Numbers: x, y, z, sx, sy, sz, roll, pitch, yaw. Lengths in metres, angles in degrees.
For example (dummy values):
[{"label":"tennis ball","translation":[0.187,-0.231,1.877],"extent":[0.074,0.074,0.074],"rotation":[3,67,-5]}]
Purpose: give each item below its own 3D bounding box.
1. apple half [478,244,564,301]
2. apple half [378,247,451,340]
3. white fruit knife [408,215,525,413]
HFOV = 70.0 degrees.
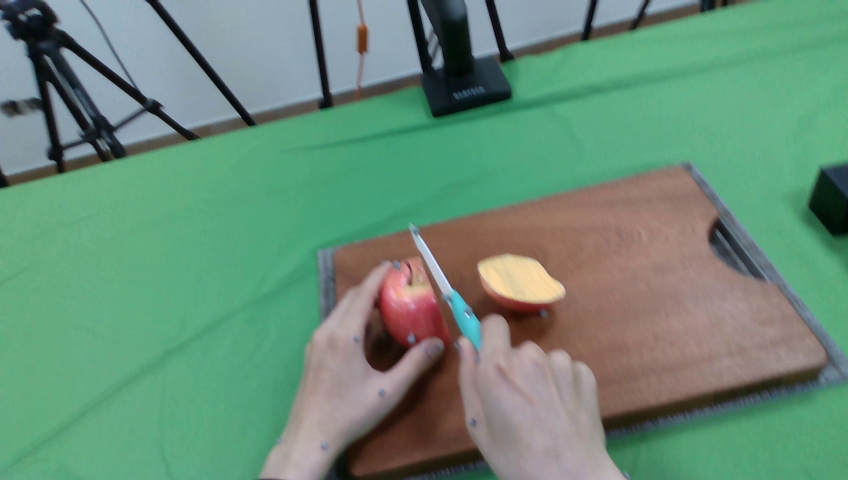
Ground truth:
[{"label":"apple half","translation":[0.085,0.036,0.560],"extent":[0.081,0.033,0.080],"rotation":[8,30,-4]},{"label":"apple half","translation":[-0.013,0.053,0.544],"extent":[0.053,0.075,0.080],"rotation":[-23,48,-3]},{"label":"white fruit knife","translation":[0.025,0.045,0.480],"extent":[0.016,0.028,0.205],"rotation":[-16,46,-17]}]
